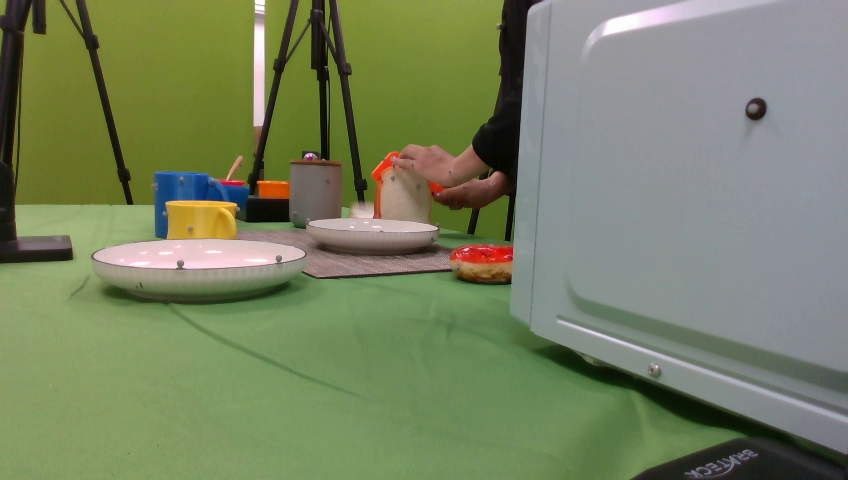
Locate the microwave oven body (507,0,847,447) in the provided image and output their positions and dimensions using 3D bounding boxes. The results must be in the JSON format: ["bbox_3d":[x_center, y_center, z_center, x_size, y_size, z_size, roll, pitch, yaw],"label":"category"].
[{"bbox_3d":[0.331,-0.042,0.425,0.444,0.260,0.324,-2,8,-31],"label":"microwave oven body"}]

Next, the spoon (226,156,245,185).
[{"bbox_3d":[-0.477,-0.145,1.492,0.041,0.022,0.193,0,51,12],"label":"spoon"}]

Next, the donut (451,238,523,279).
[{"bbox_3d":[0.083,0.022,0.745,0.099,0.048,0.099,1,5,0],"label":"donut"}]

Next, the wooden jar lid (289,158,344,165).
[{"bbox_3d":[-0.215,-0.153,1.212,0.108,0.020,0.108,2,5,0],"label":"wooden jar lid"}]

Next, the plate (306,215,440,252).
[{"bbox_3d":[-0.079,-0.011,0.950,0.209,0.038,0.209,2,8,0],"label":"plate"}]

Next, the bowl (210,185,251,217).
[{"bbox_3d":[-0.408,-0.064,1.154,0.151,0.077,0.151,2,8,0],"label":"bowl"}]

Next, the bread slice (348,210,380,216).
[{"bbox_3d":[-0.098,-0.043,1.247,0.105,0.019,0.131,-1,13,-24],"label":"bread slice"}]

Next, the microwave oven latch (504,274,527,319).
[{"bbox_3d":[0.100,0.041,0.471,0.079,0.029,0.030,-1,8,-28],"label":"microwave oven latch"}]

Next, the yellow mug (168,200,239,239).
[{"bbox_3d":[-0.319,-0.023,0.904,0.130,0.064,0.100,9,11,36],"label":"yellow mug"}]

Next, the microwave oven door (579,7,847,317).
[{"bbox_3d":[0.294,-0.067,0.570,0.358,0.243,0.039,-3,9,-31],"label":"microwave oven door"}]

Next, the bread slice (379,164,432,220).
[{"bbox_3d":[-0.037,-0.073,1.118,0.107,0.134,0.018,-4,5,-20],"label":"bread slice"}]

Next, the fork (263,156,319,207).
[{"bbox_3d":[-0.331,-0.144,1.505,0.207,0.018,0.028,-42,-20,22],"label":"fork"}]

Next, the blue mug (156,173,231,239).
[{"bbox_3d":[-0.381,-0.057,1.004,0.117,0.106,0.082,1,8,-12],"label":"blue mug"}]

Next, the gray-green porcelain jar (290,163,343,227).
[{"bbox_3d":[-0.217,-0.091,1.221,0.106,0.126,0.106,2,7,0],"label":"gray-green porcelain jar"}]

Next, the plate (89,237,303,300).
[{"bbox_3d":[-0.233,0.029,0.637,0.208,0.039,0.207,2,7,0],"label":"plate"}]

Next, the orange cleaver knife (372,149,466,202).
[{"bbox_3d":[-0.006,-0.108,1.194,0.212,0.077,0.012,26,3,-31],"label":"orange cleaver knife"}]
